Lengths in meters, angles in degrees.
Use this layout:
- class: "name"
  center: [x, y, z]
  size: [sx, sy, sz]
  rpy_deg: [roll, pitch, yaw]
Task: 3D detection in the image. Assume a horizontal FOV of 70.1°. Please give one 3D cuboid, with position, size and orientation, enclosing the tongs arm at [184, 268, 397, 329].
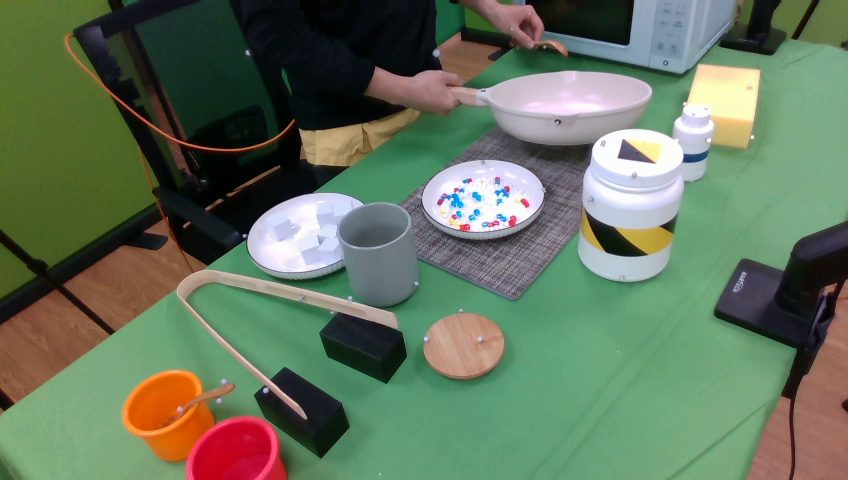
- class: "tongs arm"
  center: [-0.202, 0.084, 0.848]
  size: [0.382, 0.027, 0.051]
  rpy_deg: [11, 45, 35]

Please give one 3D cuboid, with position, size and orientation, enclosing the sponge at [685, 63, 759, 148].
- class: "sponge"
  center: [0.569, -0.263, 1.164]
  size: [0.117, 0.061, 0.207]
  rpy_deg: [12, 45, 22]

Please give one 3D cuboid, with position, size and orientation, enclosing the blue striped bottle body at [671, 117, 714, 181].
- class: "blue striped bottle body"
  center: [0.450, -0.165, 1.022]
  size: [0.063, 0.121, 0.063]
  rpy_deg: [-5, 41, 5]

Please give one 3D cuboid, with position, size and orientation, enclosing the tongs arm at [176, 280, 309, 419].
- class: "tongs arm"
  center: [-0.254, 0.133, 0.801]
  size: [0.028, 0.028, 0.384]
  rpy_deg: [-41, 41, -23]

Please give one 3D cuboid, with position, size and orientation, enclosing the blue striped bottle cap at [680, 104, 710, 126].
- class: "blue striped bottle cap"
  center: [0.443, -0.205, 0.989]
  size: [0.044, 0.021, 0.044]
  rpy_deg: [-1, 41, 2]

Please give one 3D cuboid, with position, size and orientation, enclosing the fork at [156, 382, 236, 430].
- class: "fork"
  center: [-0.262, 0.189, 0.690]
  size: [0.018, 0.206, 0.028]
  rpy_deg: [49, 43, -7]

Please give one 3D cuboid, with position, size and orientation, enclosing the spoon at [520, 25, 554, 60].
- class: "spoon"
  center: [0.241, -0.431, 1.302]
  size: [0.021, 0.042, 0.192]
  rpy_deg: [-21, 35, 6]

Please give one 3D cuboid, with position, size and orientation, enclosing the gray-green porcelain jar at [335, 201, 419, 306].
- class: "gray-green porcelain jar"
  center: [-0.064, 0.024, 0.872]
  size: [0.106, 0.127, 0.105]
  rpy_deg: [-4, 41, 4]

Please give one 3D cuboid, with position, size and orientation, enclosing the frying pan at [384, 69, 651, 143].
- class: "frying pan"
  center: [0.161, -0.267, 1.129]
  size: [0.487, 0.103, 0.306]
  rpy_deg: [11, 30, 10]

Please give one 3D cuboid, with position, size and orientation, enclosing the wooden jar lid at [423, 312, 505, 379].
- class: "wooden jar lid"
  center: [0.053, 0.142, 0.800]
  size: [0.108, 0.021, 0.108]
  rpy_deg: [-5, 39, 4]

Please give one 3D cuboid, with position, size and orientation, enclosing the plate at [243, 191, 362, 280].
- class: "plate"
  center: [-0.188, -0.005, 0.992]
  size: [0.207, 0.039, 0.206]
  rpy_deg: [-4, 40, 4]

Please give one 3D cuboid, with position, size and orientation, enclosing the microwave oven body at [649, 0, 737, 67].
- class: "microwave oven body"
  center: [0.475, -0.602, 1.411]
  size: [0.438, 0.261, 0.327]
  rpy_deg: [23, 50, 32]

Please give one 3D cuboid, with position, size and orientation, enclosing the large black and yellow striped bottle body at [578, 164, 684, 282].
- class: "large black and yellow striped bottle body"
  center: [0.291, -0.046, 0.859]
  size: [0.131, 0.185, 0.130]
  rpy_deg: [-4, 41, 4]

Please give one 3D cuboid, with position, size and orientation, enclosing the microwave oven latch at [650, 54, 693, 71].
- class: "microwave oven latch"
  center: [0.531, -0.386, 1.301]
  size: [0.078, 0.029, 0.030]
  rpy_deg: [25, 51, 33]

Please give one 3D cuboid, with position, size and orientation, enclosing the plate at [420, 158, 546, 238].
- class: "plate"
  center: [0.099, -0.067, 1.017]
  size: [0.209, 0.038, 0.208]
  rpy_deg: [-4, 40, 4]

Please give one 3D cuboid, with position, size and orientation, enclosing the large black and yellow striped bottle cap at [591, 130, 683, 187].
- class: "large black and yellow striped bottle cap"
  center: [0.282, -0.111, 0.803]
  size: [0.115, 0.019, 0.114]
  rpy_deg: [-3, 41, 3]

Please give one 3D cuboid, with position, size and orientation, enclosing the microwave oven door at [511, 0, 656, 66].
- class: "microwave oven door"
  center: [0.351, -0.540, 1.350]
  size: [0.353, 0.245, 0.039]
  rpy_deg: [24, 50, 31]
